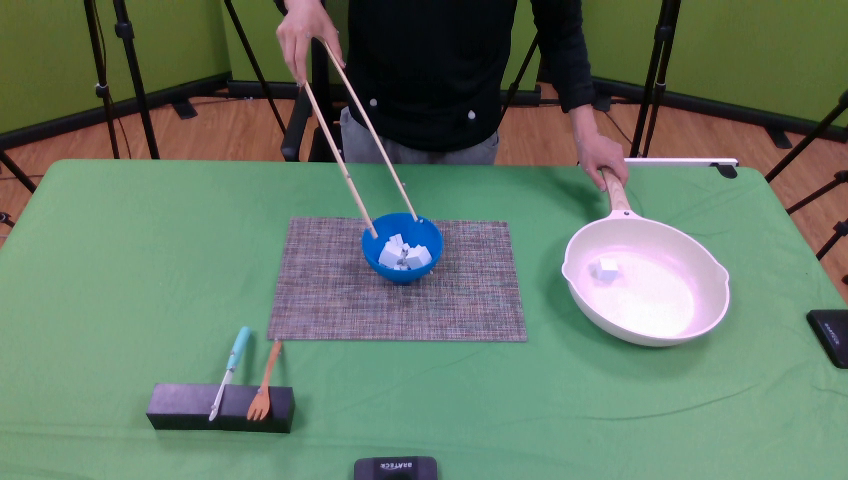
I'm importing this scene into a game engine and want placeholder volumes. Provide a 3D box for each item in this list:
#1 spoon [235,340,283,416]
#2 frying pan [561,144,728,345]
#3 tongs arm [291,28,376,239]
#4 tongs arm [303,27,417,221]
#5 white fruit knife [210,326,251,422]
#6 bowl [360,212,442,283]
[{"bbox_3d":[-0.244,0.207,0.932,0.042,0.022,0.193,28,25,-8],"label":"spoon"},{"bbox_3d":[0.397,-0.008,1.179,0.307,0.103,0.485,2,55,-4],"label":"frying pan"},{"bbox_3d":[-0.149,-0.184,1.047,0.051,0.026,0.384,-26,87,-8],"label":"tongs arm"},{"bbox_3d":[-0.108,-0.203,1.055,0.028,0.028,0.387,-28,87,-4],"label":"tongs arm"},{"bbox_3d":[-0.300,0.201,0.941,0.016,0.027,0.206,-2,32,1],"label":"white fruit knife"},{"bbox_3d":[-0.044,0.026,1.125,0.151,0.077,0.150,2,46,-2],"label":"bowl"}]
